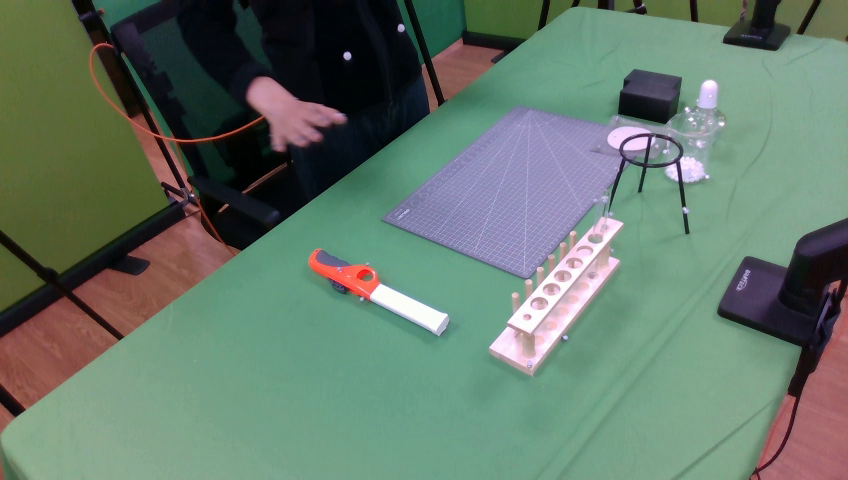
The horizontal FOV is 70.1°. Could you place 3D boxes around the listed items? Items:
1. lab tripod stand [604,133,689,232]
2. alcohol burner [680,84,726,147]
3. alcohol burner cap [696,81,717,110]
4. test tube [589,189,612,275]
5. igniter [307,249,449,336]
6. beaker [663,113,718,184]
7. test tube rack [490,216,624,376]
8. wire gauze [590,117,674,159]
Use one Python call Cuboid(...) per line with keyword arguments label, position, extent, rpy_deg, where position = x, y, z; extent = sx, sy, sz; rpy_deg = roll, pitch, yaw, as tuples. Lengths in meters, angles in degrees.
Cuboid(label="lab tripod stand", position=(0.347, -0.086, 0.932), extent=(0.148, 0.132, 0.147), rpy_deg=(-4, 40, 4))
Cuboid(label="alcohol burner", position=(0.503, -0.228, 1.085), extent=(0.078, 0.119, 0.077), rpy_deg=(-4, 42, 4))
Cuboid(label="alcohol burner cap", position=(0.498, -0.256, 1.062), extent=(0.034, 0.048, 0.033), rpy_deg=(-6, 33, 4))
Cuboid(label="test tube", position=(0.238, -0.007, 0.818), extent=(0.017, 0.151, 0.017), rpy_deg=(-3, 43, 4))
Cuboid(label="igniter", position=(-0.079, 0.073, 0.905), extent=(0.274, 0.025, 0.057), rpy_deg=(23, 61, 32))
Cuboid(label="beaker", position=(0.442, -0.151, 1.018), extent=(0.084, 0.101, 0.074), rpy_deg=(-1, 40, 11))
Cuboid(label="test tube rack", position=(0.184, 0.064, 0.822), extent=(0.066, 0.085, 0.243), rpy_deg=(24, 50, 33))
Cuboid(label="wire gauze", position=(0.393, -0.192, 1.139), extent=(0.120, 0.011, 0.125), rpy_deg=(19, 47, 28))
